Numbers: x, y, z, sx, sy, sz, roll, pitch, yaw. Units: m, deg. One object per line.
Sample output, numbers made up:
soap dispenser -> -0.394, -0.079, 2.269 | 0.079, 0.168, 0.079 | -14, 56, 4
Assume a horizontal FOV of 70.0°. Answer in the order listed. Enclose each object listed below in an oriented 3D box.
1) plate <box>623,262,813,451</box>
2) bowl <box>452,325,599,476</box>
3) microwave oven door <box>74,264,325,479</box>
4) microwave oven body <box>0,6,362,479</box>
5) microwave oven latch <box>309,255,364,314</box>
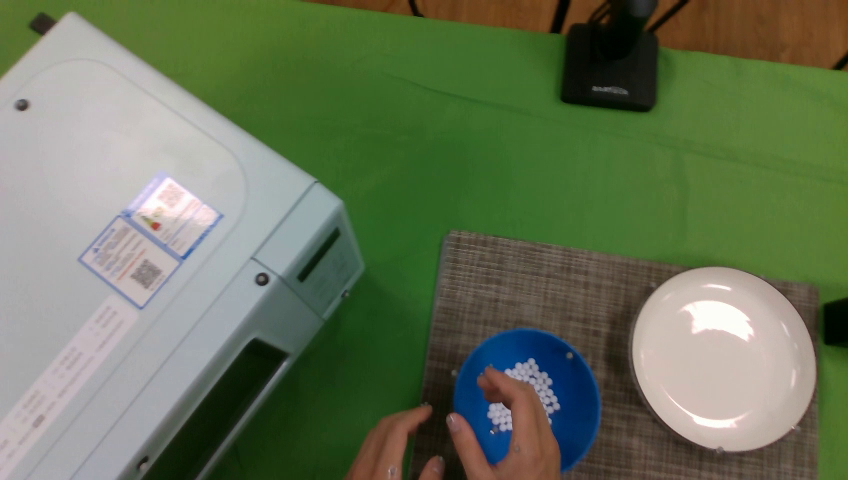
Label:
plate -> 0.326, 0.130, 0.686 | 0.208, 0.039, 0.206 | 0, 75, -1
bowl -> 0.103, 0.171, 0.649 | 0.151, 0.077, 0.150 | 0, 75, -1
microwave oven door -> -0.226, 0.189, 0.539 | 0.039, 0.245, 0.355 | 34, 77, 9
microwave oven body -> -0.322, 0.076, 0.572 | 0.325, 0.261, 0.441 | 34, 78, 7
microwave oven latch -> -0.100, 0.044, 0.685 | 0.030, 0.029, 0.079 | 36, 78, 8
